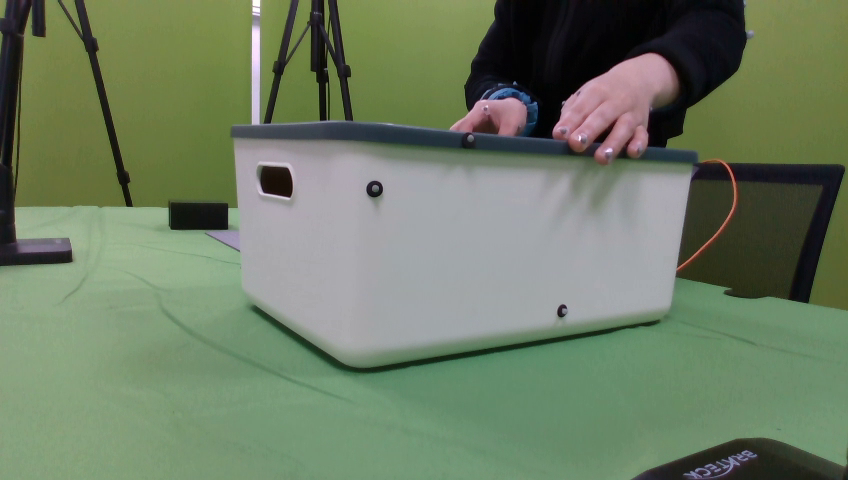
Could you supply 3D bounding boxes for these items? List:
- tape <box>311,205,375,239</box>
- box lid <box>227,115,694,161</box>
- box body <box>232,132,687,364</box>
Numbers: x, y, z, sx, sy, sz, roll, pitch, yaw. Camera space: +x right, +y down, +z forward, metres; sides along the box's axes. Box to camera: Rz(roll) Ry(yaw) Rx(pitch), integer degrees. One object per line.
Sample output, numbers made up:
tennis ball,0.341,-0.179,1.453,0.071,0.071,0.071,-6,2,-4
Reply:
tape,-0.145,-0.034,1.097,0.117,0.052,0.117,3,8,0
box lid,0.032,-0.086,0.553,0.373,0.015,0.262,-2,8,-33
box body,0.031,-0.013,0.563,0.366,0.160,0.253,-3,8,-33
